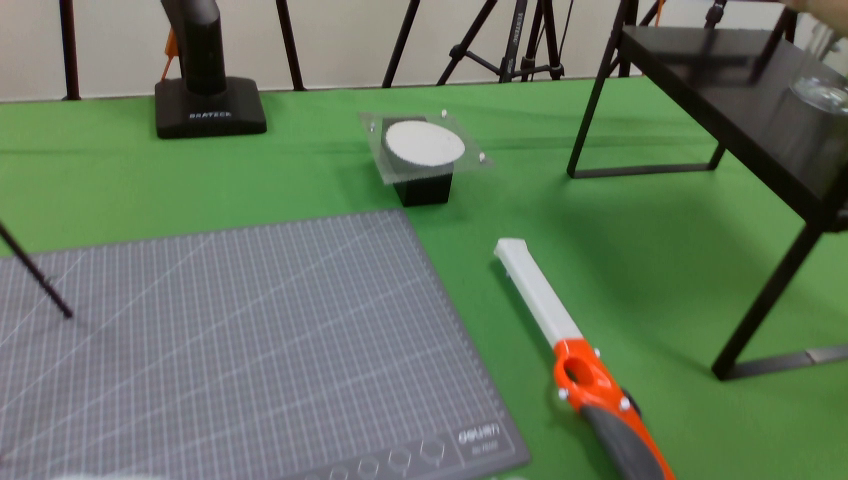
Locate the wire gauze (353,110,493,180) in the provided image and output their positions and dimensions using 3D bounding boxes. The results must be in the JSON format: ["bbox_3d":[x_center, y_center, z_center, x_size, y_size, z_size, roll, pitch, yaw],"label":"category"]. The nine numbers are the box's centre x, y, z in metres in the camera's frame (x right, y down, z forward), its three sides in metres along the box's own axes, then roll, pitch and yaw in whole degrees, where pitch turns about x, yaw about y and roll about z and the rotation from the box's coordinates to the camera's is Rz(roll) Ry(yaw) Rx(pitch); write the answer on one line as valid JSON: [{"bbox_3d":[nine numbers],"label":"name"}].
[{"bbox_3d":[-0.004,-0.107,0.646,0.122,0.011,0.123,-7,44,-20],"label":"wire gauze"}]

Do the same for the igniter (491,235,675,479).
[{"bbox_3d":[0.122,0.091,0.502,0.057,0.025,0.273,2,41,-25],"label":"igniter"}]

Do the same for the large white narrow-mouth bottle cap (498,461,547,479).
[{"bbox_3d":[0.064,0.170,0.406,0.038,0.024,0.037,5,41,-4],"label":"large white narrow-mouth bottle cap"}]

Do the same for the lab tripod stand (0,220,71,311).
[{"bbox_3d":[-0.302,0.046,0.385,0.148,0.132,0.147,7,41,-6],"label":"lab tripod stand"}]

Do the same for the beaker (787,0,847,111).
[{"bbox_3d":[0.366,-0.168,0.516,0.084,0.101,0.073,-11,44,-21],"label":"beaker"}]

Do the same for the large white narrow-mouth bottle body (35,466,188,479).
[{"bbox_3d":[-0.124,0.156,0.251,0.102,0.196,0.101,5,41,-4],"label":"large white narrow-mouth bottle body"}]
